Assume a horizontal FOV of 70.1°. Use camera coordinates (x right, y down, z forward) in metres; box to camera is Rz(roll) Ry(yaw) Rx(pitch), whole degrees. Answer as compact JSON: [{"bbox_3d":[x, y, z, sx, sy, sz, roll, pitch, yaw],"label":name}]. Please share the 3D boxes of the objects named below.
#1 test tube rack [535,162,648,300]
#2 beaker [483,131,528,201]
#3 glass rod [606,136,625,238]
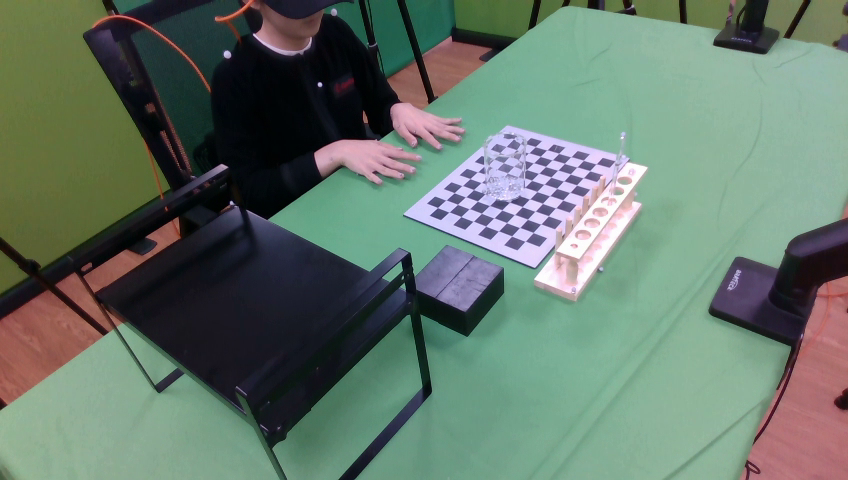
[{"bbox_3d":[0.257,-0.024,0.916,0.066,0.085,0.243,22,49,30],"label":"test tube rack"},{"bbox_3d":[0.143,-0.126,1.036,0.073,0.101,0.084,24,49,31],"label":"beaker"},{"bbox_3d":[0.273,-0.069,0.864,0.008,0.201,0.008,-5,48,6],"label":"glass rod"}]
